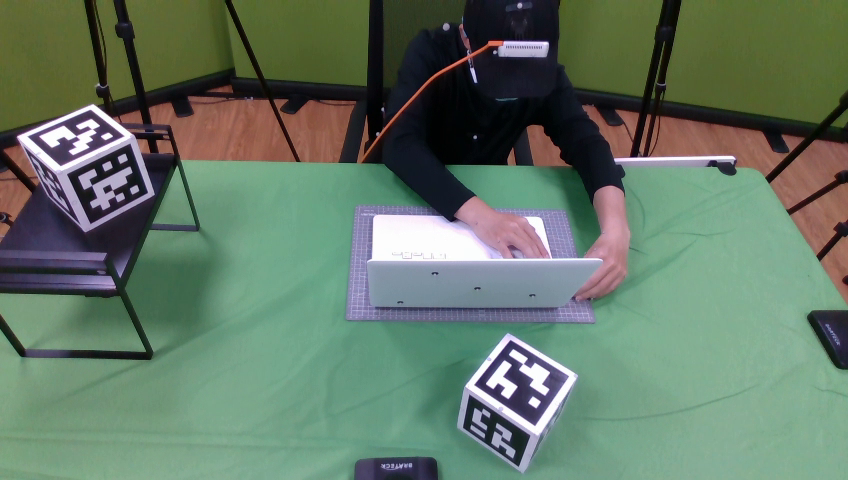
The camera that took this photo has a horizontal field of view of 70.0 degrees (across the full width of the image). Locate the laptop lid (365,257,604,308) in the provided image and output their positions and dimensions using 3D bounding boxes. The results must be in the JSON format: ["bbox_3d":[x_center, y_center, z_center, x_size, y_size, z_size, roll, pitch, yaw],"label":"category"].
[{"bbox_3d":[0.085,0.073,0.978,0.357,0.242,0.013,1,67,-5],"label":"laptop lid"}]

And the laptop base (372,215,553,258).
[{"bbox_3d":[0.075,0.037,1.168,0.355,0.023,0.234,0,43,-4],"label":"laptop base"}]

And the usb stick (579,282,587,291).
[{"bbox_3d":[0.269,0.082,1.120,0.059,0.027,0.021,-6,48,-2],"label":"usb stick"}]
